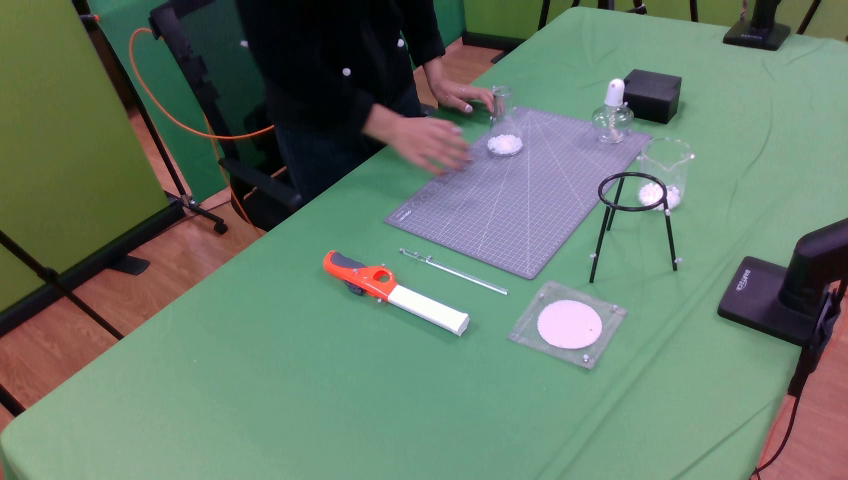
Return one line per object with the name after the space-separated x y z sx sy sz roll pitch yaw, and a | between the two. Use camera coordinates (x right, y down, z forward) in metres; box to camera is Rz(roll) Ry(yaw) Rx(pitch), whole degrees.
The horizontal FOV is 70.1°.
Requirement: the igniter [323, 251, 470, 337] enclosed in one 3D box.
-0.052 0.075 0.901 0.274 0.025 0.057 22 60 32 | igniter

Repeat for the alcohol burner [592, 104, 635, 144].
0.353 -0.242 1.126 0.078 0.119 0.077 -5 38 5 | alcohol burner

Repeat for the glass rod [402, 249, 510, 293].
0.045 0.046 0.932 0.198 0.008 0.008 20 49 31 | glass rod

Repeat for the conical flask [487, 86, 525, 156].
0.152 -0.226 1.140 0.075 0.122 0.075 -5 40 5 | conical flask

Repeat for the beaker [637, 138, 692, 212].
0.383 -0.100 0.970 0.074 0.101 0.084 2 42 14 | beaker

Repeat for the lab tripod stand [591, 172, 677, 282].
0.292 -0.022 0.867 0.148 0.132 0.147 -7 39 6 | lab tripod stand

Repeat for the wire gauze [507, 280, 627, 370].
0.196 0.114 0.823 0.120 0.011 0.125 20 50 31 | wire gauze

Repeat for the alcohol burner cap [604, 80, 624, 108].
0.350 -0.269 1.102 0.034 0.048 0.033 -2 46 2 | alcohol burner cap
